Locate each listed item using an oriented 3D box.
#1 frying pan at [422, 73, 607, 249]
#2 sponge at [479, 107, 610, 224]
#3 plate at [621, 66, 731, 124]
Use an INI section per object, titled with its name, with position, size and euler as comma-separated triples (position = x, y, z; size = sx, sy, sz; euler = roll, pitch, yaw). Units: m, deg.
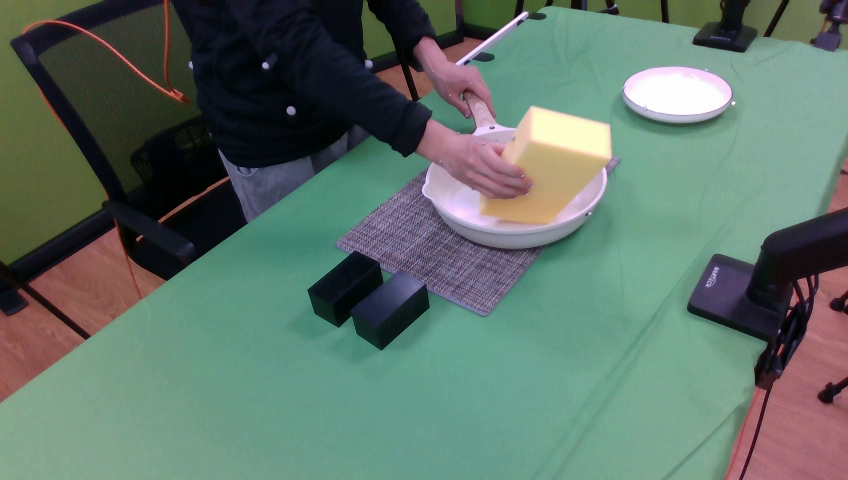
[frying pan]
position = 0.130, -0.161, 1.069
size = 0.307, 0.103, 0.484
euler = -10, 49, -5
[sponge]
position = 0.171, -0.099, 0.897
size = 0.119, 0.206, 0.060
euler = 11, 62, -11
[plate]
position = 0.503, -0.288, 1.221
size = 0.207, 0.039, 0.206
euler = -4, 41, 4
